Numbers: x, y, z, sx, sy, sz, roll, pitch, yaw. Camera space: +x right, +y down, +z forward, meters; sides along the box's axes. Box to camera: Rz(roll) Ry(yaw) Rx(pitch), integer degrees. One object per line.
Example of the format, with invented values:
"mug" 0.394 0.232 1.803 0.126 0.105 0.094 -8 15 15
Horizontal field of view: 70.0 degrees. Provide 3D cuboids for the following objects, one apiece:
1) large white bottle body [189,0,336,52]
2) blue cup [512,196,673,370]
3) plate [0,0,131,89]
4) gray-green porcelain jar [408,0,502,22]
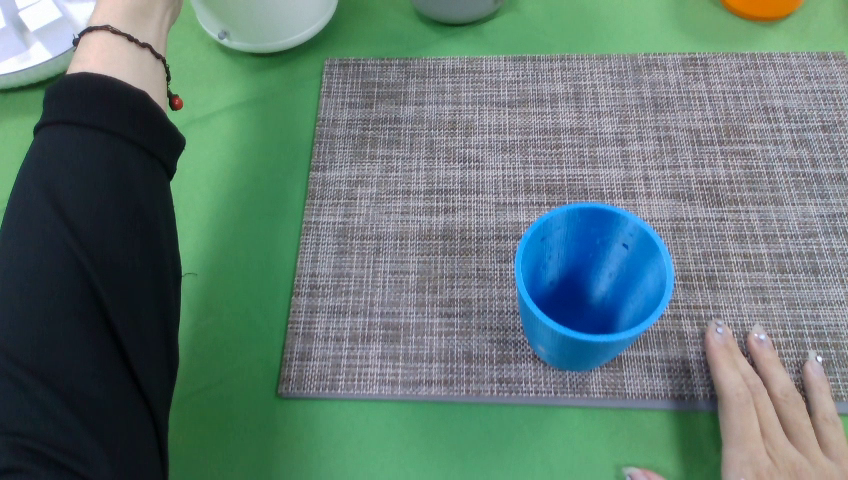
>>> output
"large white bottle body" -0.149 -0.262 0.485 0.130 0.186 0.129 -1 62 2
"blue cup" 0.095 0.037 0.372 0.092 0.101 0.092 -2 63 5
"plate" -0.373 -0.218 0.569 0.207 0.039 0.206 -1 63 3
"gray-green porcelain jar" 0.026 -0.264 0.521 0.106 0.127 0.105 -1 63 3
